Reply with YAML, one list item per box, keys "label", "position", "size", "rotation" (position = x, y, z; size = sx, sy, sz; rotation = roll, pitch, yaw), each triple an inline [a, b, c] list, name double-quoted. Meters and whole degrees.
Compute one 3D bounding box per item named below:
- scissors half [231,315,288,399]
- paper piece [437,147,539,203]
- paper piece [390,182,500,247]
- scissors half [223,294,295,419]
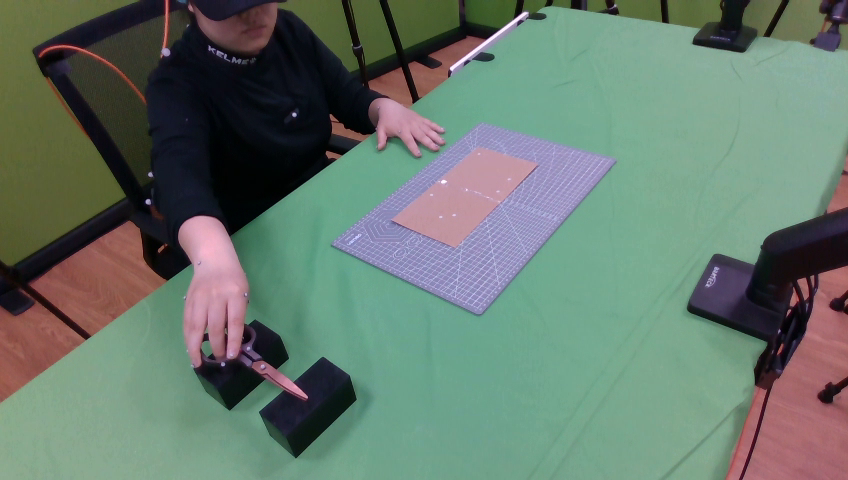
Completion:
- label: "scissors half"
  position: [-0.203, 0.139, 0.740]
  size: [0.013, 0.040, 0.173]
  rotation: [-33, 45, -18]
- label: "paper piece"
  position: [0.117, -0.122, 1.104]
  size: [0.135, 0.009, 0.138]
  rotation: [26, 49, 29]
- label: "paper piece"
  position: [0.037, -0.048, 1.027]
  size: [0.134, 0.004, 0.136]
  rotation: [24, 48, 30]
- label: "scissors half"
  position: [-0.203, 0.144, 0.746]
  size: [0.013, 0.040, 0.174]
  rotation: [-28, 79, -22]
